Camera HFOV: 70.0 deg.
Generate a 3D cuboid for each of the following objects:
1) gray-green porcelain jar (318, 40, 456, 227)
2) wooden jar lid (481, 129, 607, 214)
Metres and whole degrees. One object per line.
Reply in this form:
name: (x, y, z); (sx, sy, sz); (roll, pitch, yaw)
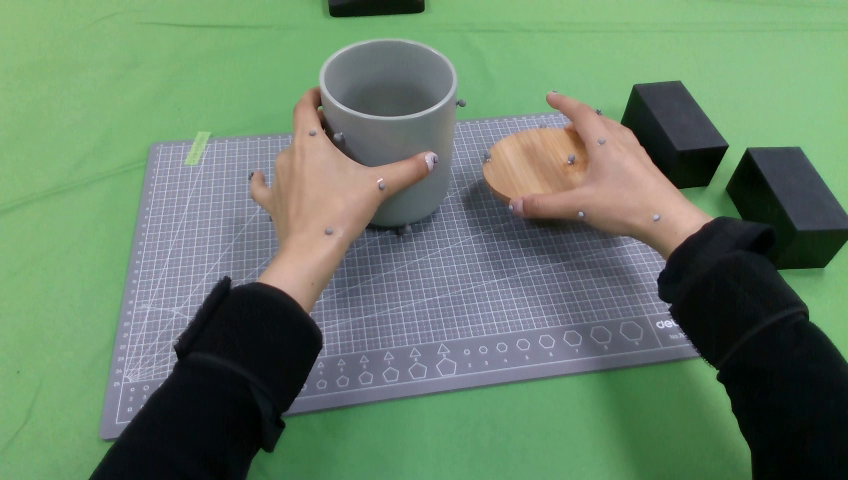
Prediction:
gray-green porcelain jar: (-0.029, -0.082, 0.505); (0.106, 0.127, 0.105); (2, 50, -1)
wooden jar lid: (0.104, -0.059, 0.532); (0.108, 0.021, 0.107); (-6, 43, 6)
